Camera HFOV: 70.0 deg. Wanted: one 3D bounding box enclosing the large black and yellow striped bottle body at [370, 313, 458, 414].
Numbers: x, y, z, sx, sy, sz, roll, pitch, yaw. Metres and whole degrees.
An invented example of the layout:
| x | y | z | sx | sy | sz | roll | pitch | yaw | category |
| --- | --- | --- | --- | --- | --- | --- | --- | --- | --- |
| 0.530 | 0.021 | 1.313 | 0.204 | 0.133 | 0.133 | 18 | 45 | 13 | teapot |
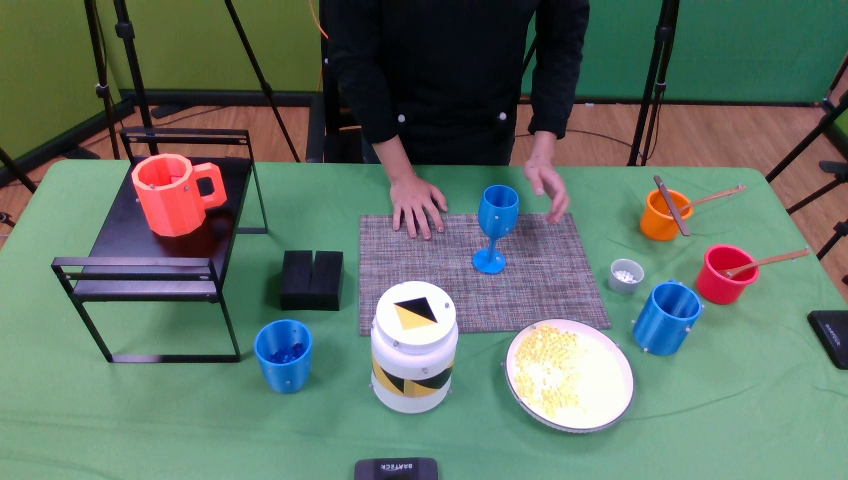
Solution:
| x | y | z | sx | sy | sz | roll | pitch | yaw | category |
| --- | --- | --- | --- | --- | --- | --- | --- | --- | --- |
| -0.017 | 0.165 | 0.924 | 0.131 | 0.185 | 0.130 | 2 | 46 | -2 | large black and yellow striped bottle body |

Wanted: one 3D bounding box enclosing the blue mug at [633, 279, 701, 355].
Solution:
| x | y | z | sx | sy | sz | roll | pitch | yaw | category |
| --- | --- | --- | --- | --- | --- | --- | --- | --- | --- |
| 0.419 | 0.124 | 1.052 | 0.082 | 0.106 | 0.116 | 14 | 46 | 9 | blue mug |

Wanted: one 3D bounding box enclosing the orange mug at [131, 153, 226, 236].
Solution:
| x | y | z | sx | sy | sz | roll | pitch | yaw | category |
| --- | --- | --- | --- | --- | --- | --- | --- | --- | --- |
| -0.375 | -0.075 | 0.937 | 0.126 | 0.101 | 0.083 | -20 | 50 | -17 | orange mug |

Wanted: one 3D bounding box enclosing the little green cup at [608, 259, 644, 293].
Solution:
| x | y | z | sx | sy | sz | roll | pitch | yaw | category |
| --- | --- | --- | --- | --- | --- | --- | --- | --- | --- |
| 0.379 | 0.070 | 1.147 | 0.061 | 0.039 | 0.061 | 3 | 45 | -2 | little green cup |

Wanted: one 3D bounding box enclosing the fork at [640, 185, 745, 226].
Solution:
| x | y | z | sx | sy | sz | roll | pitch | yaw | category |
| --- | --- | --- | --- | --- | --- | --- | --- | --- | --- |
| 0.534 | -0.069 | 1.215 | 0.207 | 0.019 | 0.028 | -26 | 27 | 33 | fork |

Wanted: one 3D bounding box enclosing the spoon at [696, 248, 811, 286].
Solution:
| x | y | z | sx | sy | sz | roll | pitch | yaw | category |
| --- | --- | --- | --- | --- | --- | --- | --- | --- | --- |
| 0.600 | 0.048 | 1.112 | 0.193 | 0.022 | 0.041 | -25 | 32 | 35 | spoon |

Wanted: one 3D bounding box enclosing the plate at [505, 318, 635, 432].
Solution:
| x | y | z | sx | sy | sz | roll | pitch | yaw | category |
| --- | --- | --- | --- | --- | --- | --- | --- | --- | --- |
| 0.235 | 0.221 | 0.991 | 0.209 | 0.038 | 0.208 | 2 | 45 | -2 | plate |

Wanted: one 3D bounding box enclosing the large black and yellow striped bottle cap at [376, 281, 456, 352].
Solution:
| x | y | z | sx | sy | sz | roll | pitch | yaw | category |
| --- | --- | --- | --- | --- | --- | --- | --- | --- | --- |
| -0.011 | 0.107 | 0.863 | 0.115 | 0.019 | 0.114 | 2 | 47 | -2 | large black and yellow striped bottle cap |

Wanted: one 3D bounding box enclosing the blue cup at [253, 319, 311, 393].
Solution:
| x | y | z | sx | sy | sz | roll | pitch | yaw | category |
| --- | --- | --- | --- | --- | --- | --- | --- | --- | --- |
| -0.217 | 0.187 | 0.943 | 0.093 | 0.101 | 0.092 | 3 | 45 | -3 | blue cup |

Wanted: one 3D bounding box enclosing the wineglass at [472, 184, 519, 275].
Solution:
| x | y | z | sx | sy | sz | roll | pitch | yaw | category |
| --- | --- | --- | --- | --- | --- | --- | --- | --- | --- |
| 0.129 | -0.018 | 1.113 | 0.074 | 0.173 | 0.073 | 2 | 46 | -2 | wineglass |

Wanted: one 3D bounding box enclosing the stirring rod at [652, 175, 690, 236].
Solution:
| x | y | z | sx | sy | sz | roll | pitch | yaw | category |
| --- | --- | --- | --- | --- | --- | --- | --- | --- | --- |
| 0.492 | -0.072 | 1.211 | 0.014 | 0.006 | 0.175 | -1 | 46 | -6 | stirring rod |
